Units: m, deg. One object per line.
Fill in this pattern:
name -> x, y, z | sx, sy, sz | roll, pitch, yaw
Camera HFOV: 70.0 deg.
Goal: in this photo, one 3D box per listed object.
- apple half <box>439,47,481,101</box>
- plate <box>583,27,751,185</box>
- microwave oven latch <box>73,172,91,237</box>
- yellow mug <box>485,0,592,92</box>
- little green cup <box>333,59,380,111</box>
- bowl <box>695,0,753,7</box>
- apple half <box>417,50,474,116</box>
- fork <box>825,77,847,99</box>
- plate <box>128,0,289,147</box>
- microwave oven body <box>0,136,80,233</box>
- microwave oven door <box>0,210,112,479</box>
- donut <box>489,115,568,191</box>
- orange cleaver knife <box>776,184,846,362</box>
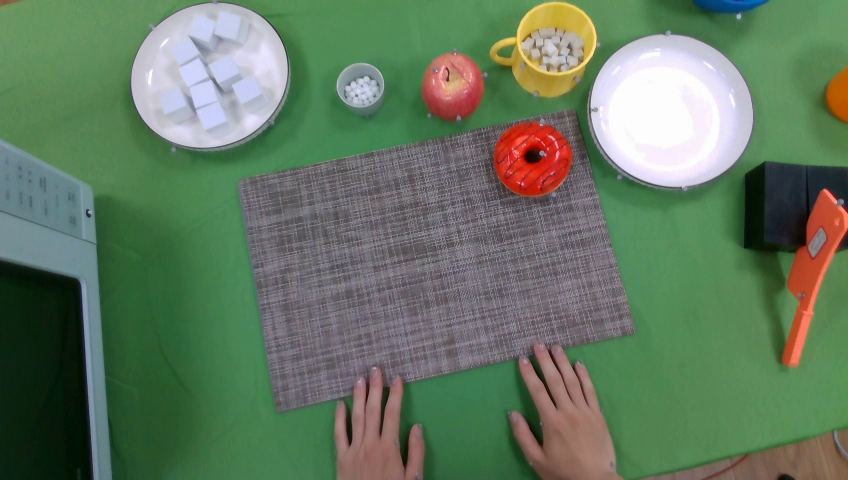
apple half -> 0.051, -0.216, 0.773 | 0.033, 0.081, 0.081 | -40, 81, -1
plate -> 0.307, -0.168, 0.778 | 0.209, 0.038, 0.208 | 0, 80, 1
microwave oven latch -> -0.435, -0.042, 0.752 | 0.030, 0.029, 0.079 | -8, 80, -1
yellow mug -> 0.144, -0.250, 0.782 | 0.131, 0.064, 0.099 | -2, 80, 2
little green cup -> -0.086, -0.200, 0.792 | 0.061, 0.039, 0.061 | 0, 80, 2
bowl -> 0.388, -0.362, 0.790 | 0.151, 0.077, 0.151 | 0, 80, 2
apple half -> 0.020, -0.191, 0.771 | 0.053, 0.075, 0.080 | -39, 85, -1
fork -> 0.599, -0.209, 0.722 | 0.206, 0.019, 0.028 | -14, 73, 43
plate -> -0.279, -0.218, 0.799 | 0.208, 0.039, 0.207 | 0, 80, 1
microwave oven body -> -0.555, 0.135, 0.625 | 0.326, 0.261, 0.440 | -9, 80, -1
microwave oven door -> -0.404, 0.151, 0.614 | 0.039, 0.244, 0.354 | -10, 79, 0
donut -> 0.131, -0.110, 0.764 | 0.099, 0.048, 0.098 | 0, 81, 3
orange cleaver knife -> 0.445, 0.041, 0.712 | 0.012, 0.077, 0.212 | 7, 112, 4
